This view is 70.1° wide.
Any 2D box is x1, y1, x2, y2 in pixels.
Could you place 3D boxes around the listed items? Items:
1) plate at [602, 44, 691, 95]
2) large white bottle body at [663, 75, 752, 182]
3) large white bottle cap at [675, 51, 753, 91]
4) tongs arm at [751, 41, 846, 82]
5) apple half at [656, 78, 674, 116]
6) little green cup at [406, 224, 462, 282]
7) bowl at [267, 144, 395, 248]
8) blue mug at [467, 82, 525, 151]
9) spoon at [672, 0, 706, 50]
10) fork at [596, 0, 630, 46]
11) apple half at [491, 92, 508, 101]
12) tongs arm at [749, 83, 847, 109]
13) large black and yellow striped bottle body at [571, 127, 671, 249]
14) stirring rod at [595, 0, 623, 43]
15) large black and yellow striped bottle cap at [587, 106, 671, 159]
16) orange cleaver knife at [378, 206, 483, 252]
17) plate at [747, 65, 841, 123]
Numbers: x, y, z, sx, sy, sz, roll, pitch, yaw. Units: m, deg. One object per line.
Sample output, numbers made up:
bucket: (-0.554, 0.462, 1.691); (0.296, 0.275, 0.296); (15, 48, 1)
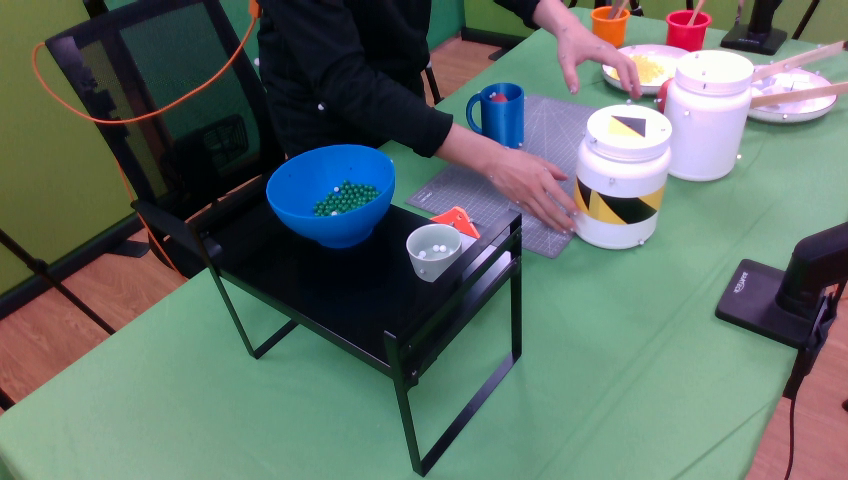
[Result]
plate: (0.495, -0.367, 1.317); (0.209, 0.038, 0.208); (-4, 40, 4)
large white bottle body: (0.472, -0.207, 1.022); (0.130, 0.185, 0.130); (-4, 41, 4)
large white bottle cap: (0.463, -0.271, 0.967); (0.115, 0.018, 0.114); (-4, 40, 4)
tongs arm: (0.708, -0.331, 1.194); (0.386, 0.026, 0.050); (-18, 45, -16)
apple half: (0.488, -0.281, 1.192); (0.053, 0.075, 0.081); (24, 54, 37)
little green cup: (0.012, 0.015, 0.668); (0.061, 0.039, 0.061); (-4, 40, 4)
bowl: (-0.104, -0.043, 0.726); (0.151, 0.077, 0.150); (-4, 40, 4)
blue mug: (0.138, -0.241, 1.169); (0.116, 0.106, 0.082); (11, 44, 21)
spoon: (0.629, -0.520, 1.394); (0.041, 0.022, 0.193); (30, 97, 34)
fork: (0.481, -0.556, 1.452); (0.028, 0.019, 0.207); (40, 103, 40)
apple half: (0.142, -0.239, 1.158); (0.033, 0.081, 0.080); (-14, 40, -18)
tongs arm: (0.734, -0.280, 1.134); (0.388, 0.028, 0.028); (-9, 47, -5)
large black and yellow striped bottle body: (0.296, -0.093, 0.915); (0.131, 0.185, 0.130); (-3, 42, 3)
stirring rod: (0.460, -0.556, 1.460); (0.014, 0.006, 0.176); (30, 94, 24)
large black and yellow striped bottle cap: (0.290, -0.154, 0.858); (0.115, 0.019, 0.114); (-4, 42, 4)
orange cleaver knife: (0.005, -0.010, 0.943); (0.210, 0.077, 0.012); (-5, 23, 47)
plate: (0.694, -0.283, 1.189); (0.207, 0.039, 0.206); (-4, 40, 4)
